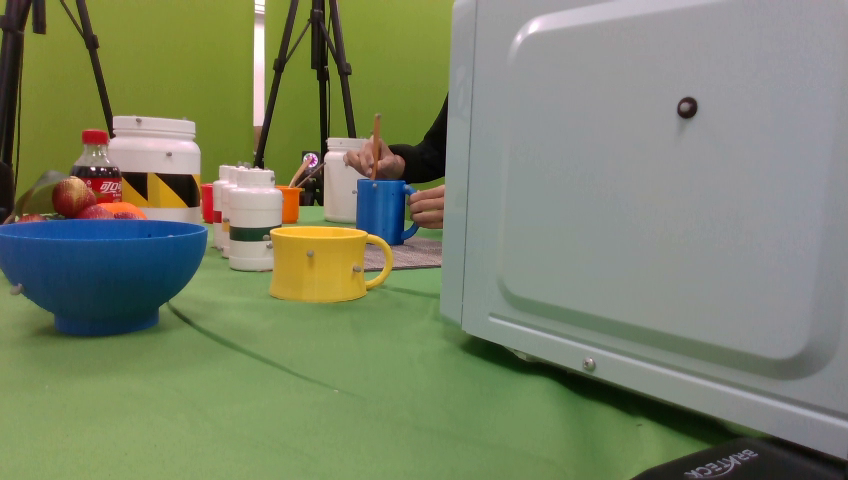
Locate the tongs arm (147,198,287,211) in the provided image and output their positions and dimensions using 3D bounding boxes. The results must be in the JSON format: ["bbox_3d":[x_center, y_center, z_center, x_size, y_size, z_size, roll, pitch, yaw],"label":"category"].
[{"bbox_3d":[-0.504,-0.091,1.513,0.028,0.028,0.389,-1,4,37],"label":"tongs arm"}]

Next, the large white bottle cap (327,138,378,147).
[{"bbox_3d":[-0.160,-0.218,1.357,0.115,0.018,0.115,2,8,0],"label":"large white bottle cap"}]

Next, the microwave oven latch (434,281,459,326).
[{"bbox_3d":[0.044,0.045,0.470,0.079,0.029,0.030,-3,8,-39],"label":"microwave oven latch"}]

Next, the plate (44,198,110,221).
[{"bbox_3d":[-0.617,-0.056,1.179,0.209,0.038,0.209,3,7,0],"label":"plate"}]

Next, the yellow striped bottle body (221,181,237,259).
[{"bbox_3d":[-0.244,-0.035,0.823,0.063,0.120,0.063,2,8,0],"label":"yellow striped bottle body"}]

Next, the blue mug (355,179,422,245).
[{"bbox_3d":[-0.058,-0.047,1.007,0.116,0.106,0.082,5,8,19],"label":"blue mug"}]

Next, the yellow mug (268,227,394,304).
[{"bbox_3d":[-0.094,0.023,0.630,0.131,0.064,0.099,0,8,-22],"label":"yellow mug"}]

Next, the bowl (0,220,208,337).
[{"bbox_3d":[-0.251,0.029,0.479,0.151,0.077,0.151,2,7,0],"label":"bowl"}]

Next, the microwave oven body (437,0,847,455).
[{"bbox_3d":[0.279,-0.040,0.465,0.444,0.260,0.324,-3,9,-41],"label":"microwave oven body"}]

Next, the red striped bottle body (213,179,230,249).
[{"bbox_3d":[-0.284,-0.048,0.909,0.063,0.119,0.063,3,10,0],"label":"red striped bottle body"}]

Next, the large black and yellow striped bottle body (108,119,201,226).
[{"bbox_3d":[-0.412,-0.088,0.930,0.131,0.184,0.130,3,7,0],"label":"large black and yellow striped bottle body"}]

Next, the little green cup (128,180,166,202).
[{"bbox_3d":[-0.485,-0.087,1.062,0.061,0.038,0.061,-1,6,0],"label":"little green cup"}]

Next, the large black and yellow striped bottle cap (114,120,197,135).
[{"bbox_3d":[-0.407,-0.171,0.920,0.115,0.019,0.115,2,9,0],"label":"large black and yellow striped bottle cap"}]

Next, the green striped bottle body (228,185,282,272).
[{"bbox_3d":[-0.208,-0.023,0.745,0.063,0.119,0.063,2,7,0],"label":"green striped bottle body"}]

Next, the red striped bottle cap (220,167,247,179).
[{"bbox_3d":[-0.281,-0.100,0.901,0.044,0.017,0.044,-1,5,0],"label":"red striped bottle cap"}]

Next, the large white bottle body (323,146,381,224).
[{"bbox_3d":[-0.163,-0.134,1.369,0.131,0.184,0.130,2,8,0],"label":"large white bottle body"}]

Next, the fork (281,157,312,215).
[{"bbox_3d":[-0.289,-0.116,1.321,0.028,0.019,0.207,6,51,19],"label":"fork"}]

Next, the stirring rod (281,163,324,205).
[{"bbox_3d":[-0.278,-0.105,1.293,0.176,0.006,0.014,-47,25,-18],"label":"stirring rod"}]

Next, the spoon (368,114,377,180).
[{"bbox_3d":[-0.091,-0.113,1.006,0.022,0.193,0.041,9,1,-14],"label":"spoon"}]

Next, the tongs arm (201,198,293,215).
[{"bbox_3d":[-0.423,-0.084,1.473,0.050,0.026,0.386,2,6,21],"label":"tongs arm"}]

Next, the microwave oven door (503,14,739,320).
[{"bbox_3d":[0.218,-0.065,0.600,0.358,0.243,0.039,-4,10,-41],"label":"microwave oven door"}]

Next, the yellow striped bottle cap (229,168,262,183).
[{"bbox_3d":[-0.240,-0.087,0.816,0.044,0.018,0.044,-3,5,1],"label":"yellow striped bottle cap"}]

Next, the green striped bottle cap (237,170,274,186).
[{"bbox_3d":[-0.205,-0.075,0.737,0.044,0.020,0.044,1,5,0],"label":"green striped bottle cap"}]
